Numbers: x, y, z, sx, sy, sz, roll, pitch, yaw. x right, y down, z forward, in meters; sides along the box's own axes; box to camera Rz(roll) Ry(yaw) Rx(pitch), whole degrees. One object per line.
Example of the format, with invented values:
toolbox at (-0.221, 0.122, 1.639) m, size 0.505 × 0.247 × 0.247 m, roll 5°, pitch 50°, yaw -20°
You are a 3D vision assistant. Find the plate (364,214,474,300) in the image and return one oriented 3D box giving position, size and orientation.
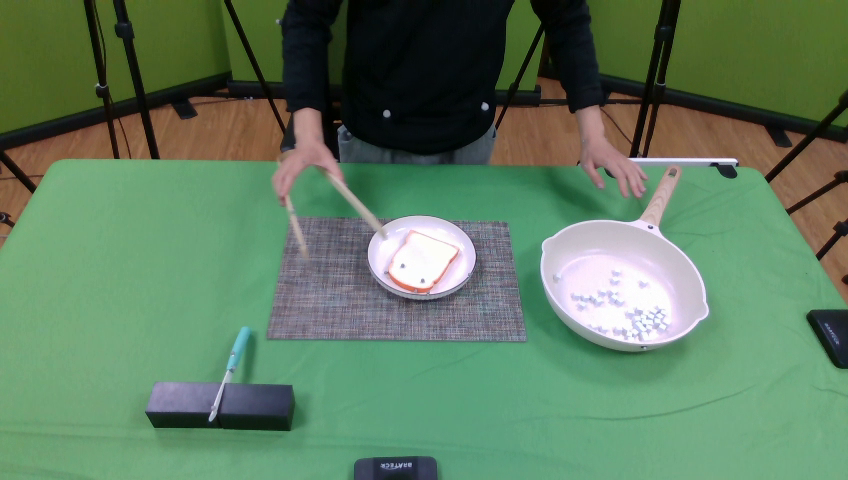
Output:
plate at (-0.010, 0.036, 1.146) m, size 0.208 × 0.039 × 0.206 m, roll 2°, pitch 46°, yaw -2°

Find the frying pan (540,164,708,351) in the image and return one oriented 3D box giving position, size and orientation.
frying pan at (0.407, 0.012, 1.160) m, size 0.306 × 0.103 × 0.486 m, roll 26°, pitch 58°, yaw 18°

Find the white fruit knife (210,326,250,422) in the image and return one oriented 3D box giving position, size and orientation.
white fruit knife at (-0.301, 0.201, 0.942) m, size 0.016 × 0.027 × 0.206 m, roll 1°, pitch 32°, yaw -1°

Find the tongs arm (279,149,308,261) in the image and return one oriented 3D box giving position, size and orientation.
tongs arm at (-0.221, -0.076, 1.077) m, size 0.051 × 0.026 × 0.382 m, roll -17°, pitch 34°, yaw -13°

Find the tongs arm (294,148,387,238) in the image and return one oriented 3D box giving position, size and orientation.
tongs arm at (-0.157, -0.096, 1.096) m, size 0.028 × 0.028 × 0.385 m, roll -26°, pitch 37°, yaw -18°

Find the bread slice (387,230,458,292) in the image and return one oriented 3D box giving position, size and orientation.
bread slice at (-0.007, 0.043, 1.142) m, size 0.107 × 0.018 × 0.134 m, roll 18°, pitch 46°, yaw 14°
